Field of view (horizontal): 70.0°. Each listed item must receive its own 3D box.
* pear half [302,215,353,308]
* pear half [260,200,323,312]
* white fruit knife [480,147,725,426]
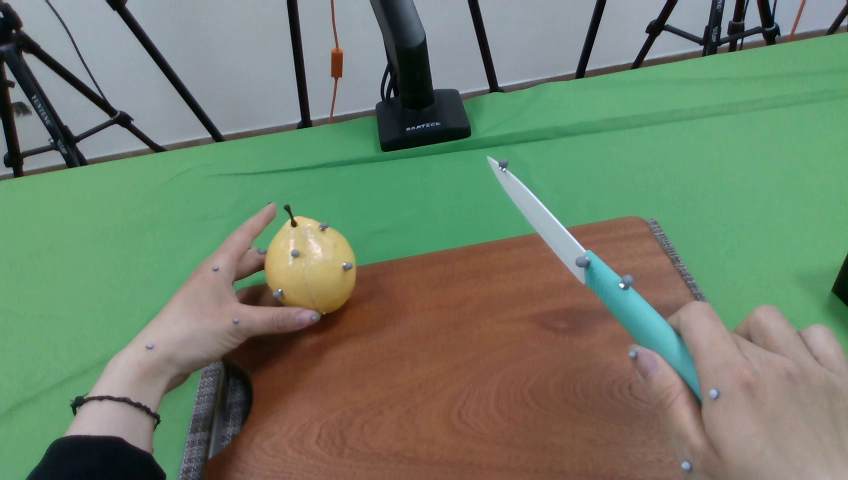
[{"bbox_3d":[-0.079,0.016,0.520,0.031,0.089,0.070,-4,35,7],"label":"pear half"},{"bbox_3d":[-0.116,0.010,0.520,0.056,0.111,0.075,-3,38,8],"label":"pear half"},{"bbox_3d":[0.093,0.015,0.348,0.016,0.027,0.205,-25,62,-27],"label":"white fruit knife"}]
